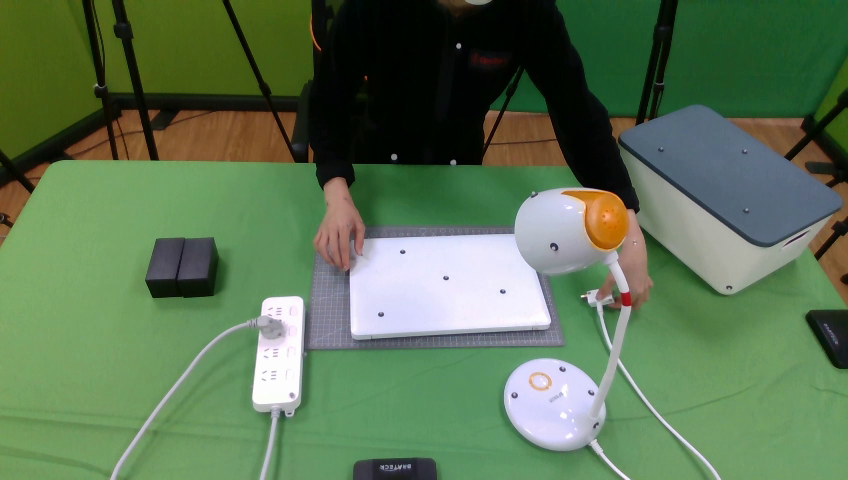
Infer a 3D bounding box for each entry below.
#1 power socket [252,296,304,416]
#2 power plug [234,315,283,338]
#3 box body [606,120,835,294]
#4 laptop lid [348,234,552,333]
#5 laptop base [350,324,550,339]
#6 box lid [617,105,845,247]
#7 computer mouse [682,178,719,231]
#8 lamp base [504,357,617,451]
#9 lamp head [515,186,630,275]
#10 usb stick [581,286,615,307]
[{"bbox_3d":[-0.238,0.181,0.997,0.072,0.033,0.225,-3,47,-5],"label":"power socket"},{"bbox_3d":[-0.269,0.143,1.000,0.072,0.053,0.035,4,47,3],"label":"power plug"},{"bbox_3d":[0.582,-0.089,1.230,0.254,0.161,0.361,-22,52,-23],"label":"box body"},{"bbox_3d":[0.039,0.072,1.116,0.357,0.013,0.240,-1,44,-5],"label":"laptop lid"},{"bbox_3d":[0.038,0.082,1.124,0.355,0.023,0.234,-2,43,-6],"label":"laptop base"},{"bbox_3d":[0.586,-0.138,1.176,0.263,0.015,0.369,-22,51,-23],"label":"box lid"},{"bbox_3d":[0.596,-0.078,1.290,0.117,0.041,0.062,56,45,-7],"label":"computer mouse"},{"bbox_3d":[0.220,0.211,0.903,0.160,0.181,0.178,-33,59,-30],"label":"lamp base"},{"bbox_3d":[0.188,-0.013,0.728,0.112,0.112,0.122,-25,9,-25],"label":"lamp head"},{"bbox_3d":[0.318,0.105,1.110,0.059,0.021,0.027,-14,52,29],"label":"usb stick"}]
